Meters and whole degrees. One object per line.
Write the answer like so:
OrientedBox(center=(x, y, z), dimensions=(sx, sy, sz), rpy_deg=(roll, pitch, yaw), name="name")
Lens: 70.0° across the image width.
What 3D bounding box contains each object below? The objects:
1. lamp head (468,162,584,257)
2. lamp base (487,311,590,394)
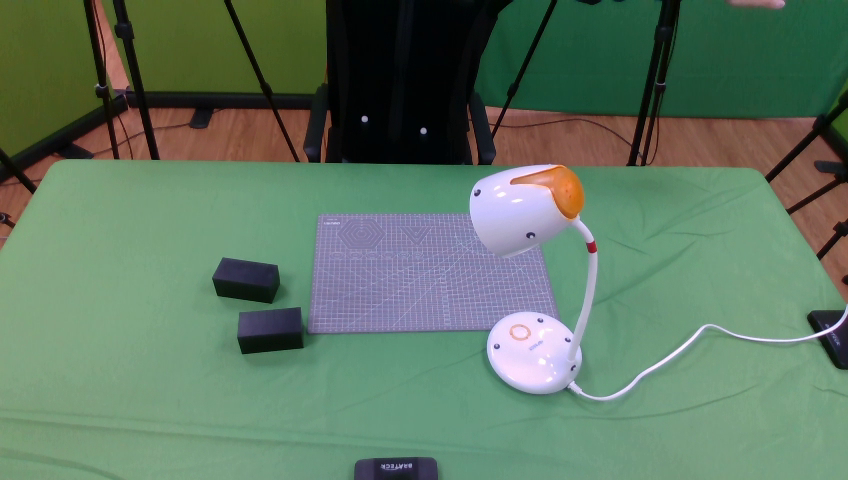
OrientedBox(center=(0.135, -0.043, 0.747), dimensions=(0.122, 0.113, 0.112), rpy_deg=(-15, 30, 42), name="lamp head")
OrientedBox(center=(0.199, 0.142, 0.962), dimensions=(0.178, 0.181, 0.160), rpy_deg=(38, 56, 24), name="lamp base")
